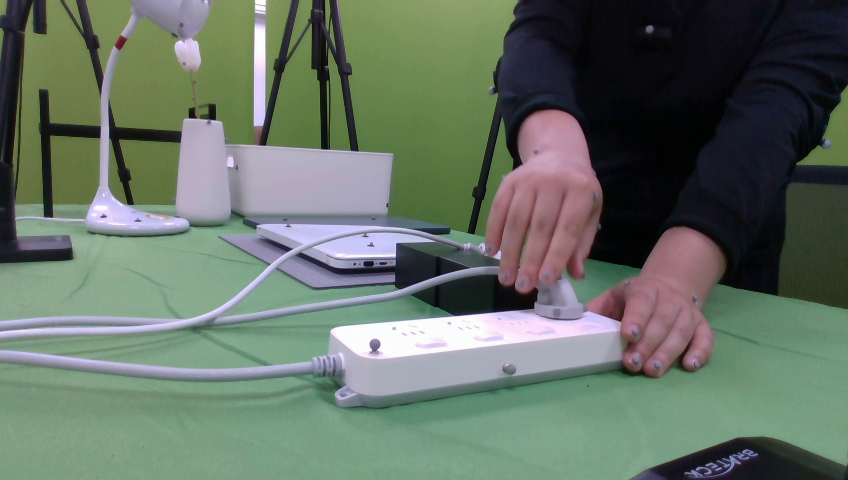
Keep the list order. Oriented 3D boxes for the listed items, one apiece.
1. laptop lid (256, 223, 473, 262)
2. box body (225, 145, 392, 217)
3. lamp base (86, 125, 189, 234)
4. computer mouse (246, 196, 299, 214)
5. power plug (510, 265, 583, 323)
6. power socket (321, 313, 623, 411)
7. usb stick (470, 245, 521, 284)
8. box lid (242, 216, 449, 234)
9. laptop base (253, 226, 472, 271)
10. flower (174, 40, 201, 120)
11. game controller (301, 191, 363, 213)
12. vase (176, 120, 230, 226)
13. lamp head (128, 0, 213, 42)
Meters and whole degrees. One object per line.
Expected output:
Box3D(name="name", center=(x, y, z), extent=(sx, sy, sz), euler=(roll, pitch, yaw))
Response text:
Box3D(name="laptop lid", center=(-0.092, 0.000, 0.912), extent=(0.243, 0.013, 0.355), euler=(1, 7, -30))
Box3D(name="box body", center=(-0.289, -0.143, 1.475), extent=(0.366, 0.160, 0.253), euler=(-1, 9, -29))
Box3D(name="lamp base", center=(-0.497, -0.105, 1.027), extent=(0.179, 0.180, 0.160), euler=(1, 7, 3))
Box3D(name="computer mouse", center=(-0.354, -0.083, 1.418), extent=(0.117, 0.041, 0.063), euler=(0, 10, 7))
Box3D(name="power plug", center=(0.094, 0.049, 0.470), extent=(0.035, 0.052, 0.072), euler=(2, 9, -15))
Box3D(name="power socket", center=(0.039, 0.075, 0.410), extent=(0.228, 0.032, 0.072), euler=(-1, 8, -28))
Box3D(name="usb stick", center=(0.081, 0.030, 0.671), extent=(0.059, 0.021, 0.027), euler=(28, 19, -26))
Box3D(name="box lid", center=(-0.162, -0.030, 1.233), extent=(0.373, 0.015, 0.262), euler=(-1, 8, -32))
Box3D(name="laptop base", center=(-0.095, 0.011, 0.912), extent=(0.237, 0.023, 0.352), euler=(2, 7, -32))
Box3D(name="flower", center=(-0.430, -0.211, 1.165), extent=(0.044, 0.361, 0.038), euler=(-10, -5, -22))
Box3D(name="game controller", center=(-0.240, -0.098, 1.550), extent=(0.155, 0.051, 0.097), euler=(3, 9, 5))
Box3D(name="vase", center=(-0.424, -0.128, 1.159), extent=(0.098, 0.200, 0.098), euler=(2, 9, 0))
Box3D(name="lamp head", center=(-0.423, -0.394, 0.980), extent=(0.123, 0.112, 0.112), euler=(20, 7, -3))
